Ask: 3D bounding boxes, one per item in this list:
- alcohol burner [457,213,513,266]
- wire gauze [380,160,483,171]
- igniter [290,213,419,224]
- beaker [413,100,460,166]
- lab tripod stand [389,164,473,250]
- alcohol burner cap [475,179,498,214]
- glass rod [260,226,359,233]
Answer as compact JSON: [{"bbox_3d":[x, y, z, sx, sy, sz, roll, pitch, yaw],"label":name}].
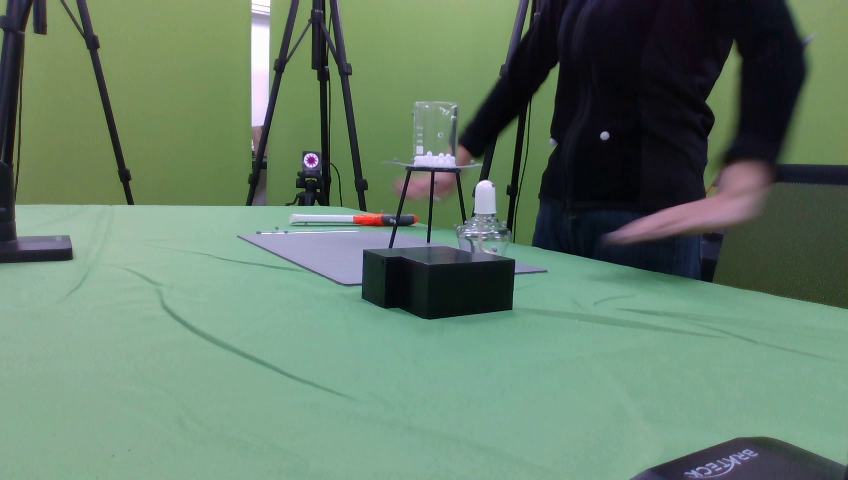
[{"bbox_3d":[0.085,-0.025,0.837,0.078,0.119,0.078,0,8,0],"label":"alcohol burner"},{"bbox_3d":[0.011,-0.119,0.951,0.122,0.011,0.124,-5,12,-32],"label":"wire gauze"},{"bbox_3d":[-0.143,-0.046,1.288,0.278,0.025,0.057,-1,-3,-24],"label":"igniter"},{"bbox_3d":[0.020,-0.167,0.953,0.073,0.100,0.084,6,9,26],"label":"beaker"},{"bbox_3d":[0.011,-0.054,0.960,0.148,0.131,0.148,2,9,0],"label":"lab tripod stand"},{"bbox_3d":[0.086,-0.061,0.833,0.034,0.048,0.034,0,11,0],"label":"alcohol burner cap"},{"bbox_3d":[-0.211,-0.020,1.137,0.201,0.008,0.008,-3,9,-35],"label":"glass rod"}]
